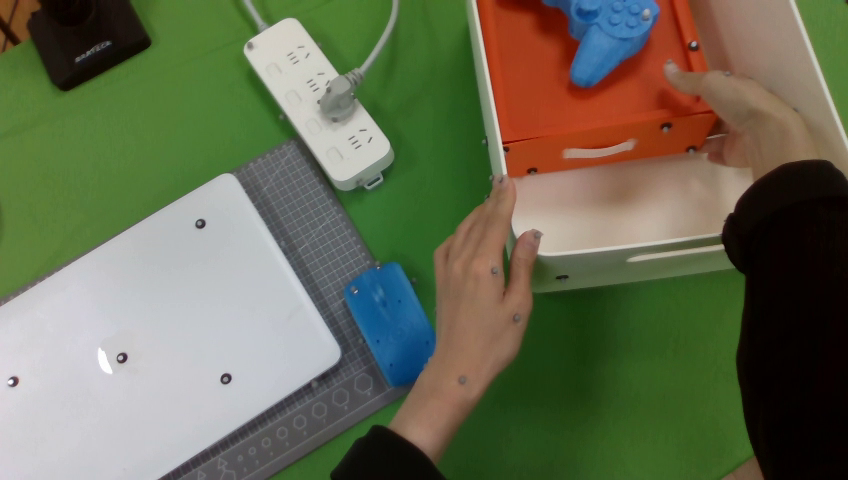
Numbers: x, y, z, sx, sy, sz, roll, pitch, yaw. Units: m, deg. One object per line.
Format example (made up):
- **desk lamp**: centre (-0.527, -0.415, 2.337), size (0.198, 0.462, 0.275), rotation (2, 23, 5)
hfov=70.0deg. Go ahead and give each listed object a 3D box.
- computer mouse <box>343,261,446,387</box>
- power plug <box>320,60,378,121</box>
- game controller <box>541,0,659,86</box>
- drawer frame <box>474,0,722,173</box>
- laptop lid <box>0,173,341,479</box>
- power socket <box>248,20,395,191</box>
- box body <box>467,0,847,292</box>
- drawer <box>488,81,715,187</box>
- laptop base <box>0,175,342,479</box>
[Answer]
- **computer mouse**: centre (-0.030, 0.076, 0.568), size (0.063, 0.041, 0.116), rotation (-28, 68, -3)
- **power plug**: centre (-0.072, -0.146, 0.626), size (0.072, 0.053, 0.035), rotation (-23, 70, -4)
- **game controller**: centre (0.145, -0.224, 0.565), size (0.097, 0.052, 0.154), rotation (-29, 69, -6)
- **drawer frame**: centre (0.155, -0.179, 0.599), size (0.201, 0.083, 0.211), rotation (-6, 64, 4)
- **laptop lid**: centre (-0.283, 0.113, 0.577), size (0.357, 0.013, 0.240), rotation (-31, 75, -5)
- **power socket**: centre (-0.113, -0.148, 0.654), size (0.072, 0.033, 0.225), rotation (-33, 72, -8)
- **box body**: centre (0.178, -0.146, 0.559), size (0.254, 0.161, 0.361), rotation (-8, 71, 2)
- **drawer**: centre (0.161, -0.167, 0.618), size (0.194, 0.074, 0.209), rotation (-8, 59, 7)
- **laptop base**: centre (-0.283, 0.115, 0.589), size (0.354, 0.023, 0.234), rotation (-33, 76, -6)
